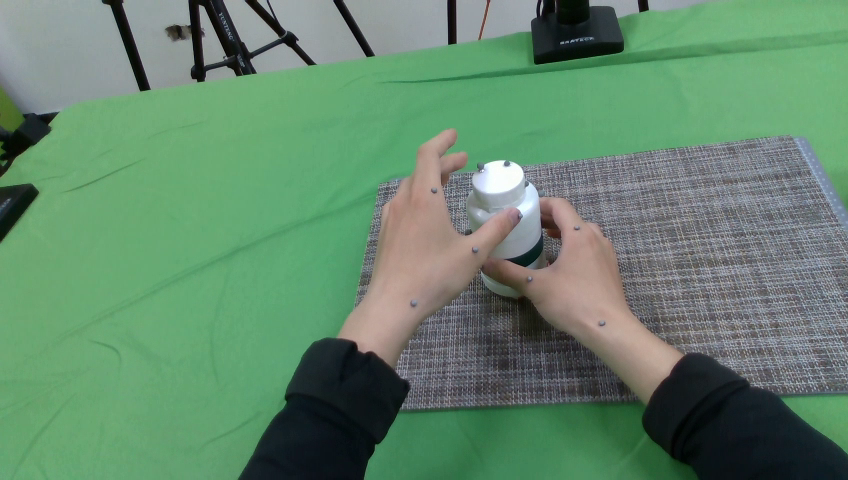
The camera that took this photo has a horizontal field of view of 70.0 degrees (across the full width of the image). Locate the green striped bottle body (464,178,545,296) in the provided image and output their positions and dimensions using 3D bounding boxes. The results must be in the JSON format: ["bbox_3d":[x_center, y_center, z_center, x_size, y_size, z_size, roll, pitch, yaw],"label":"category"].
[{"bbox_3d":[0.072,-0.010,0.536,0.063,0.120,0.062,-9,44,9],"label":"green striped bottle body"}]

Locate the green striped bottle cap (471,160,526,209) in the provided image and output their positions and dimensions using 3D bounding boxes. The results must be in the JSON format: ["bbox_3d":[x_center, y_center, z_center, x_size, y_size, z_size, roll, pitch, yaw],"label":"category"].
[{"bbox_3d":[0.061,-0.046,0.499,0.044,0.020,0.044,-10,43,10],"label":"green striped bottle cap"}]
